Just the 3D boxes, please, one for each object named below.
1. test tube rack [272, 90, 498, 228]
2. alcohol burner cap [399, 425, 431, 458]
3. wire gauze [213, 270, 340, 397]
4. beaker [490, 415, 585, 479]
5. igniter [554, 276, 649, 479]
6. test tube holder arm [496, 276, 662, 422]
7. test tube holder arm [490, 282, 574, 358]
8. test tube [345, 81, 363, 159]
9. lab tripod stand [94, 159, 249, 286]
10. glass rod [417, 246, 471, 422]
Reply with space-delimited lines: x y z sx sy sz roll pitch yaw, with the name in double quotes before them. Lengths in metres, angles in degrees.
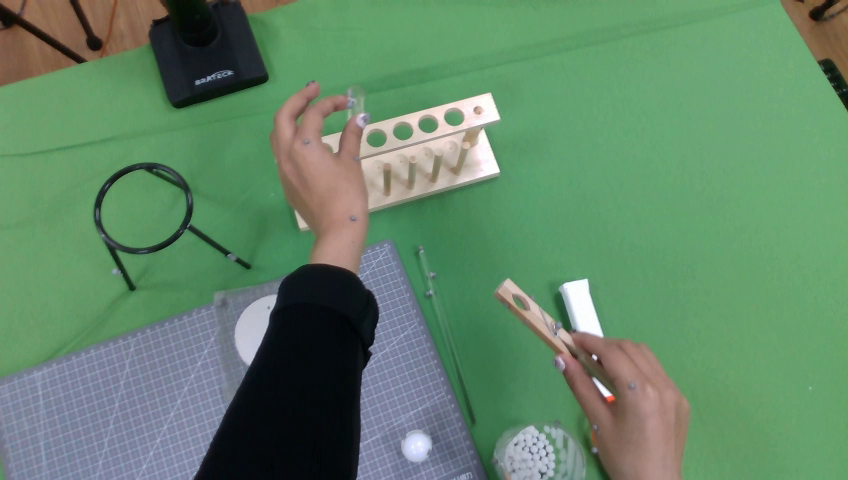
"test tube rack" -0.036 -0.089 0.679 0.242 0.085 0.066 -16 75 -8
"alcohol burner cap" -0.009 0.205 0.616 0.034 0.048 0.033 1 74 -2
"wire gauze" -0.161 0.100 0.655 0.125 0.011 0.121 -9 76 -7
"beaker" 0.103 0.210 0.594 0.084 0.101 0.073 11 72 1
"igniter" 0.194 0.173 0.647 0.057 0.025 0.275 -10 75 -16
"test tube holder arm" 0.130 0.092 0.506 0.178 0.015 0.013 40 76 -2
"test tube holder arm" 0.091 0.067 0.504 0.088 0.015 0.010 40 76 -2
"test tube" -0.070 -0.114 0.599 0.017 0.150 0.017 2 75 -7
"lab tripod stand" -0.264 -0.012 0.619 0.148 0.132 0.147 1 76 -3
"glass rod" 0.022 0.101 0.667 0.008 0.008 0.198 -15 78 -8
